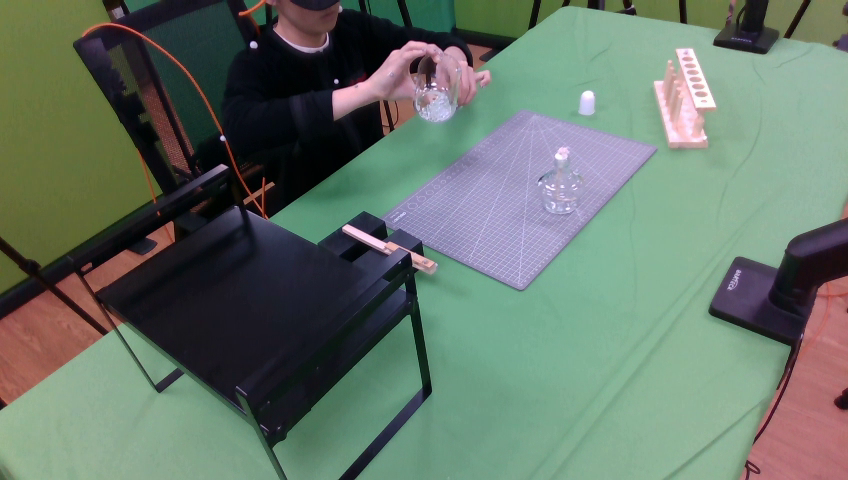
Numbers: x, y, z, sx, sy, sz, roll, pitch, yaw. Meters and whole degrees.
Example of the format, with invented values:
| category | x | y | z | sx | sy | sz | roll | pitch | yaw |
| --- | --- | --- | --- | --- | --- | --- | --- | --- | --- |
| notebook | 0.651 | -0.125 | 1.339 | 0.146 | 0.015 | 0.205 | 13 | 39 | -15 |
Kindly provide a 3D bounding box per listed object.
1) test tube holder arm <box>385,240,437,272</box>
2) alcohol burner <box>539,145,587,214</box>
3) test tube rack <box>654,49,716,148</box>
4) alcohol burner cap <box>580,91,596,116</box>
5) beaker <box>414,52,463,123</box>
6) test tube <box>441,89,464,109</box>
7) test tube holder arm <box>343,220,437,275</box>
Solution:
| category | x | y | z | sx | sy | sz | roll | pitch | yaw |
| --- | --- | --- | --- | --- | --- | --- | --- | --- | --- |
| test tube holder arm | -0.020 | 0.022 | 0.872 | 0.087 | 0.010 | 0.015 | 26 | 58 | 31 |
| alcohol burner | 0.226 | -0.102 | 0.986 | 0.078 | 0.119 | 0.077 | -6 | 41 | 6 |
| test tube rack | 0.502 | -0.281 | 1.176 | 0.066 | 0.085 | 0.241 | 1 | 41 | 11 |
| alcohol burner cap | 0.338 | -0.283 | 1.238 | 0.034 | 0.048 | 0.033 | -5 | 42 | 5 |
| beaker | 0.023 | -0.243 | 0.980 | 0.074 | 0.084 | 0.100 | -5 | 46 | 15 |
| test tube | 0.055 | -0.257 | 1.108 | 0.017 | 0.017 | 0.150 | 4 | 6 | 14 |
| test tube holder arm | -0.054 | 0.009 | 0.899 | 0.177 | 0.013 | 0.015 | 26 | 58 | 30 |
